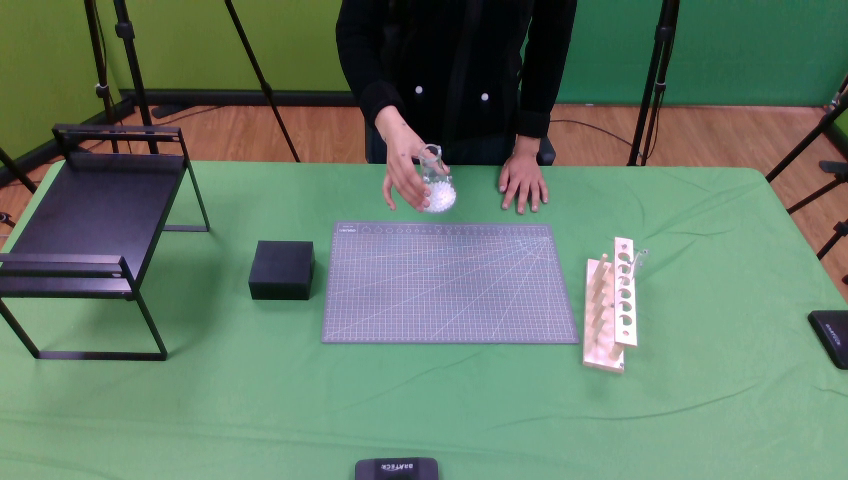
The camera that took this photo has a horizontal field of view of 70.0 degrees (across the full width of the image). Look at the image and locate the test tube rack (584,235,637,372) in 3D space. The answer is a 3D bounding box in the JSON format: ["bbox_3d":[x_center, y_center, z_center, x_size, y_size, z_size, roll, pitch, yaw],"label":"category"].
[{"bbox_3d":[0.329,0.103,1.073,0.067,0.085,0.241,10,47,7],"label":"test tube rack"}]

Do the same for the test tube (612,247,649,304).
[{"bbox_3d":[0.353,0.065,1.044,0.017,0.151,0.017,3,49,-4],"label":"test tube"}]

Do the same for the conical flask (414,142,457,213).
[{"bbox_3d":[0.014,-0.107,1.012,0.075,0.122,0.075,-4,54,5],"label":"conical flask"}]
